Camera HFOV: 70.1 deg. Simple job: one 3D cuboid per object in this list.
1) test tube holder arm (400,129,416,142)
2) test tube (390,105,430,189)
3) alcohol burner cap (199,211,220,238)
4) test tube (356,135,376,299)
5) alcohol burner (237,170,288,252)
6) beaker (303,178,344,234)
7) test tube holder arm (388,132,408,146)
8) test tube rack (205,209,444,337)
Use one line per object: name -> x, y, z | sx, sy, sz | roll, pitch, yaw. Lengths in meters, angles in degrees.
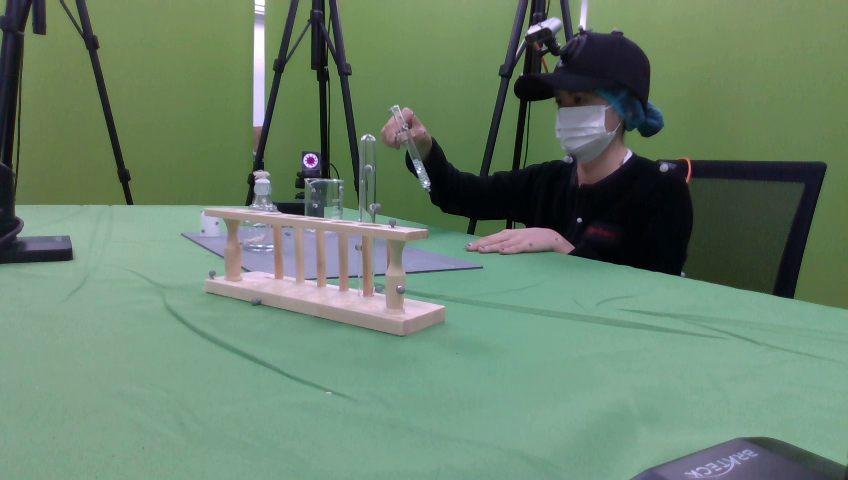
test tube holder arm -> -0.033, -0.180, 1.048 | 0.010, 0.015, 0.087 | -20, 9, -17
test tube -> -0.023, -0.158, 1.027 | 0.017, 0.150, 0.017 | -22, 8, 4
alcohol burner cap -> -0.356, -0.027, 1.002 | 0.034, 0.048, 0.034 | 3, 7, 0
test tube -> -0.053, -0.019, 0.550 | 0.017, 0.150, 0.017 | 2, 9, 0
alcohol burner -> -0.236, -0.042, 0.882 | 0.078, 0.119, 0.078 | 2, 9, 0
beaker -> -0.189, -0.063, 1.119 | 0.073, 0.100, 0.084 | 6, 9, 28
test tube holder arm -> -0.049, -0.181, 1.090 | 0.013, 0.015, 0.178 | -18, 9, -10
test tube rack -> -0.100, 0.021, 0.565 | 0.241, 0.085, 0.067 | 7, 9, 32
